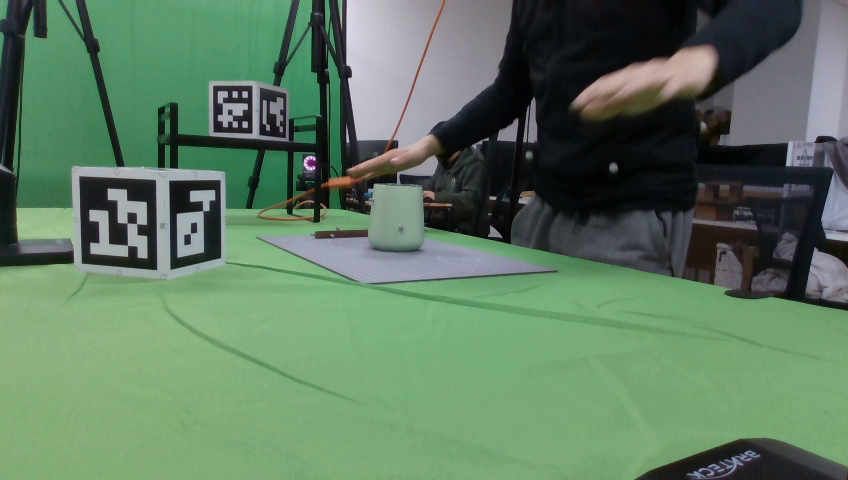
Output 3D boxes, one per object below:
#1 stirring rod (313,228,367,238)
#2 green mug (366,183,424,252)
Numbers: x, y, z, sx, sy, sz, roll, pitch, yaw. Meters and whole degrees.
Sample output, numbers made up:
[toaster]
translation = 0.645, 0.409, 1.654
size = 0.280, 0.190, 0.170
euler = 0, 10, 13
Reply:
[stirring rod]
translation = -0.123, -0.014, 1.114
size = 0.177, 0.014, 0.006
euler = -3, 3, -35
[green mug]
translation = -0.053, -0.039, 0.989
size = 0.093, 0.105, 0.124
euler = -1, 8, -29
